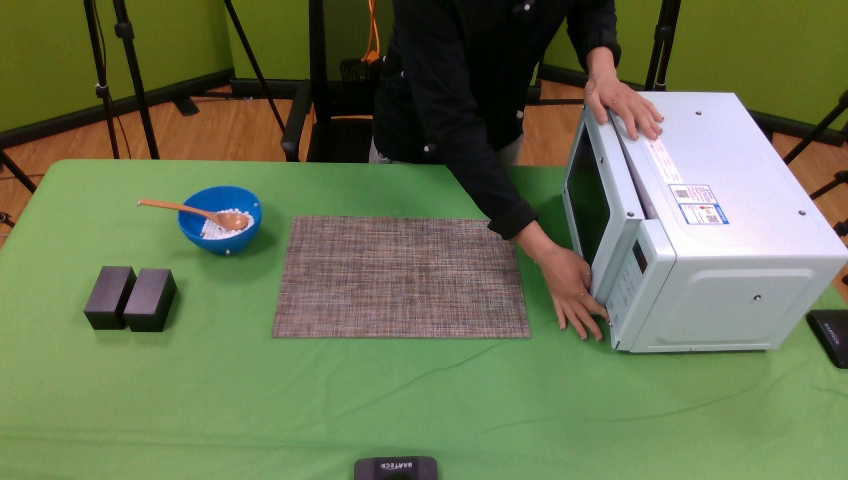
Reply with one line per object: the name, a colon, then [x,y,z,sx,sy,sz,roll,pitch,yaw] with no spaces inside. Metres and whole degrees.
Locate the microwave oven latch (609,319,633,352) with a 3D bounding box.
microwave oven latch: [0.337,0.154,1.043,0.030,0.029,0.078,6,45,3]

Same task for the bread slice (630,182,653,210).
bread slice: [0.462,-0.080,1.139,0.105,0.019,0.131,-31,53,-34]

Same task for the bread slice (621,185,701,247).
bread slice: [0.462,-0.043,1.169,0.134,0.018,0.107,32,59,19]

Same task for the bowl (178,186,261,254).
bowl: [-0.383,-0.026,1.158,0.151,0.077,0.150,2,46,-2]

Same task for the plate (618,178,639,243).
plate: [0.456,-0.043,1.180,0.208,0.039,0.206,1,45,0]

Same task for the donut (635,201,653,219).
donut: [0.454,-0.062,1.159,0.099,0.048,0.098,-2,47,2]

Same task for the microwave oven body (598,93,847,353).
microwave oven body: [0.475,-0.042,1.109,0.326,0.261,0.438,-1,45,-4]

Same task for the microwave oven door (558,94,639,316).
microwave oven door: [0.314,-0.074,1.123,0.039,0.245,0.353,3,46,-2]

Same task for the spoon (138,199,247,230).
spoon: [-0.431,-0.053,1.135,0.194,0.022,0.041,15,49,-20]
